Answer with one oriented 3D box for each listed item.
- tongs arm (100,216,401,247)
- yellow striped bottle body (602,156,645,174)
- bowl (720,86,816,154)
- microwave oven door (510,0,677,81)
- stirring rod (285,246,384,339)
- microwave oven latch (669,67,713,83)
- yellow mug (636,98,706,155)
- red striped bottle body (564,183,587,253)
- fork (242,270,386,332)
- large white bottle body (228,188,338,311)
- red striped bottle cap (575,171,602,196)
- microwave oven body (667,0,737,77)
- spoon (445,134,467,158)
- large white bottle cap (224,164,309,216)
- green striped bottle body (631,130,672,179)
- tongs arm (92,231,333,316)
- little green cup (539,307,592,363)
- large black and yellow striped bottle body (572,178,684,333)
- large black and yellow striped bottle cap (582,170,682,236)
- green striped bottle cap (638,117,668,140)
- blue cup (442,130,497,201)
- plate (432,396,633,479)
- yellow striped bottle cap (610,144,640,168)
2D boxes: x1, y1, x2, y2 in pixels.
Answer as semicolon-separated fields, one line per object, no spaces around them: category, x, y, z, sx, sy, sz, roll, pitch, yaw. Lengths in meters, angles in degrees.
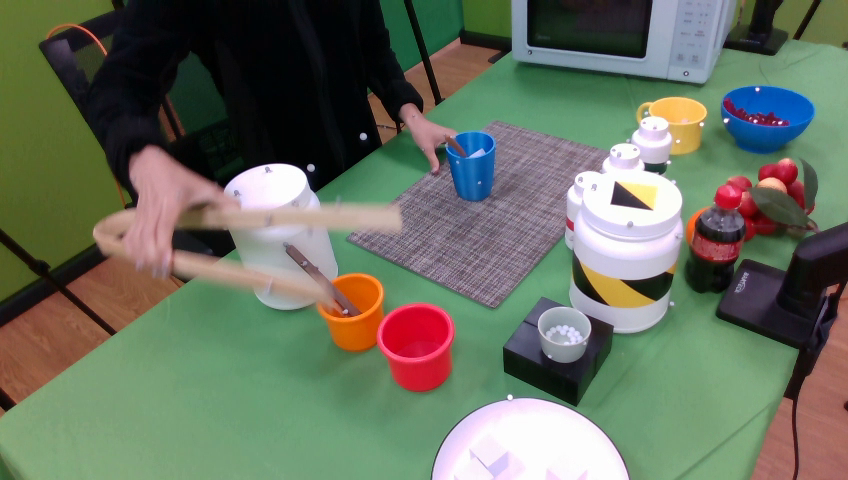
tongs arm;-0.209;-0.007;0.681;0.382;0.026;0.051;2;34;24
yellow striped bottle body;0.313;-0.089;0.956;0.063;0.121;0.062;-4;39;4
bowl;0.605;-0.206;1.082;0.151;0.077;0.150;-5;40;5
microwave oven door;0.354;-0.478;1.290;0.353;0.245;0.039;15;45;25
stirring rod;-0.120;0.071;0.819;0.176;0.006;0.014;44;51;-6
microwave oven latch;0.556;-0.348;1.261;0.078;0.029;0.030;16;46;27
yellow mug;0.453;-0.217;1.128;0.100;0.064;0.129;-34;46;-27
red striped bottle body;0.246;-0.041;0.910;0.063;0.120;0.062;-2;38;2
fork;-0.141;0.082;0.802;0.209;0.018;0.028;28;39;-25
large white bottle body;-0.207;-0.002;0.884;0.130;0.185;0.130;-4;40;4
red striped bottle cap;0.242;-0.081;0.876;0.044;0.018;0.044;-5;44;5
microwave oven body;0.462;-0.552;1.369;0.439;0.261;0.326;15;45;26
spoon;0.065;-0.130;0.994;0.041;0.195;0.021;20;78;24
large white bottle cap;-0.215;-0.066;0.829;0.115;0.018;0.114;-4;40;4
green striped bottle body;0.375;-0.140;1.007;0.063;0.120;0.063;-5;40;5
tongs arm;-0.240;0.031;0.626;0.384;0.028;0.028;9;41;33
little green cup;0.168;0.115;0.721;0.061;0.039;0.061;-4;42;4
large black and yellow striped bottle body;0.262;0.017;0.788;0.131;0.185;0.130;-5;40;4
large black and yellow striped bottle cap;0.252;-0.048;0.735;0.115;0.019;0.114;-3;40;3
green striped bottle cap;0.369;-0.180;0.974;0.044;0.020;0.044;-4;41;4
blue cup;0.084;-0.123;1.041;0.092;0.100;0.092;-4;43;4
plate;0.112;0.261;0.634;0.209;0.038;0.208;-5;40;4
yellow striped bottle cap;0.307;-0.128;0.923;0.044;0.019;0.044;-5;39;5
